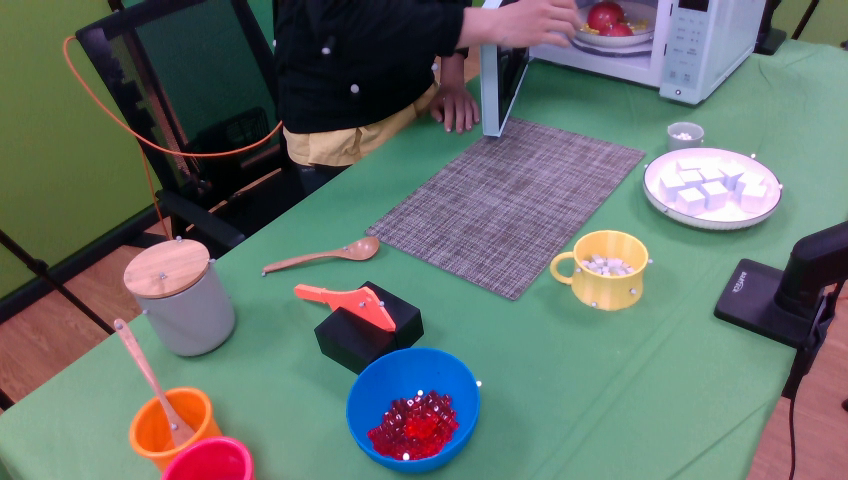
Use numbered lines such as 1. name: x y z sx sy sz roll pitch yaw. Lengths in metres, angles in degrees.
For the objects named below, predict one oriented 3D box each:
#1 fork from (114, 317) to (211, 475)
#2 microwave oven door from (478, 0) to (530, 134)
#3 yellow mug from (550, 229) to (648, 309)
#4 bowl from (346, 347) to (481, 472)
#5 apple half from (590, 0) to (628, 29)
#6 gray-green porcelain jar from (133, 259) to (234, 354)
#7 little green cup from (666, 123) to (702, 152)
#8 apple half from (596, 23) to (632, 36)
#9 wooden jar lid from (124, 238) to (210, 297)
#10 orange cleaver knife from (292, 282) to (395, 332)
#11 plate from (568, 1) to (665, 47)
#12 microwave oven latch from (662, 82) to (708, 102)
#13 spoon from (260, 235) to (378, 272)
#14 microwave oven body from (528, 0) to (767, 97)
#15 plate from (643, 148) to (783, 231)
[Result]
1. fork: -0.309 0.180 0.708 0.028 0.018 0.207 -29 89 -26
2. microwave oven door: 0.169 -0.412 1.229 0.039 0.245 0.355 7 43 16
3. yellow mug: 0.245 0.040 0.857 0.130 0.064 0.099 1 42 11
4. bowl: -0.008 0.205 0.690 0.151 0.077 0.150 -4 40 4
5. apple half: 0.418 -0.522 1.378 0.081 0.054 0.074 -41 38 -16
6. gray-green porcelain jar: -0.328 0.087 0.836 0.106 0.127 0.105 -4 41 4
7. little green cup: 0.472 -0.183 1.102 0.061 0.039 0.061 -5 39 5
8. apple half: 0.417 -0.460 1.328 0.081 0.033 0.081 -2 38 2
9. wooden jar lid: -0.335 0.039 0.794 0.108 0.021 0.108 -2 40 2
10. orange cleaver knife: -0.116 0.091 0.835 0.209 0.077 0.012 2 32 48
11. plate: 0.431 -0.486 1.367 0.209 0.038 0.208 -4 41 4
12. microwave oven latch: 0.518 -0.298 1.202 0.078 0.029 0.030 29 53 35
13. spoon: -0.168 0.024 0.966 0.194 0.022 0.041 -10 58 -3
14. microwave oven body: 0.473 -0.516 1.313 0.438 0.261 0.327 26 51 34
15. plate: 0.464 -0.080 0.986 0.207 0.039 0.206 -4 40 4
